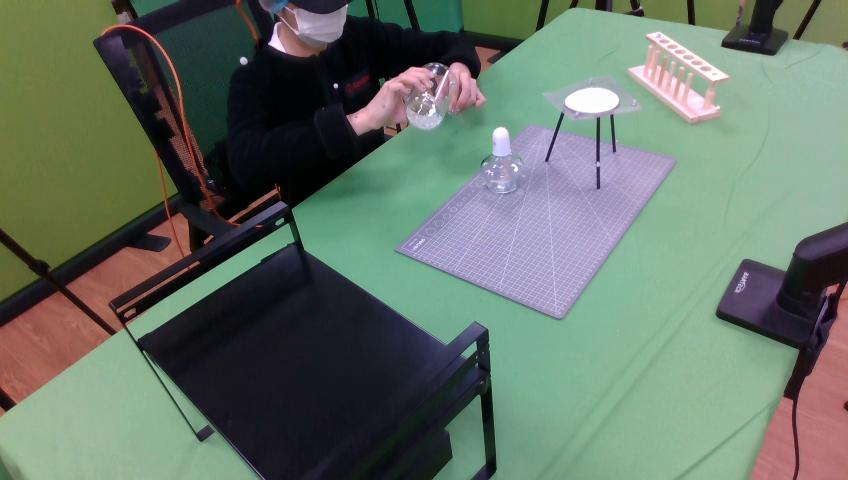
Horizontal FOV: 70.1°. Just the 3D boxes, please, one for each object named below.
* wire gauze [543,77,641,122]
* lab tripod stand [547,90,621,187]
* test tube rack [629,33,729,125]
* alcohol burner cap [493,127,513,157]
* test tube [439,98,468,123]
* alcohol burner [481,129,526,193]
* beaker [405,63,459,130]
[{"bbox_3d":[0.282,-0.236,1.020,0.125,0.011,0.120,-15,40,-6],"label":"wire gauze"},{"bbox_3d":[0.289,-0.184,1.062,0.148,0.132,0.147,-6,41,6],"label":"lab tripod stand"},{"bbox_3d":[0.516,-0.337,1.248,0.067,0.085,0.240,-14,41,-6],"label":"test tube rack"},{"bbox_3d":[0.132,-0.169,1.030,0.034,0.048,0.033,-7,36,5],"label":"alcohol burner cap"},{"bbox_3d":[0.059,-0.249,1.171,0.017,0.017,0.151,10,1,20],"label":"test tube"},{"bbox_3d":[0.138,-0.142,1.052,0.078,0.119,0.077,-5,42,5],"label":"alcohol burner"},{"bbox_3d":[0.014,-0.244,1.046,0.073,0.084,0.100,6,50,20],"label":"beaker"}]
